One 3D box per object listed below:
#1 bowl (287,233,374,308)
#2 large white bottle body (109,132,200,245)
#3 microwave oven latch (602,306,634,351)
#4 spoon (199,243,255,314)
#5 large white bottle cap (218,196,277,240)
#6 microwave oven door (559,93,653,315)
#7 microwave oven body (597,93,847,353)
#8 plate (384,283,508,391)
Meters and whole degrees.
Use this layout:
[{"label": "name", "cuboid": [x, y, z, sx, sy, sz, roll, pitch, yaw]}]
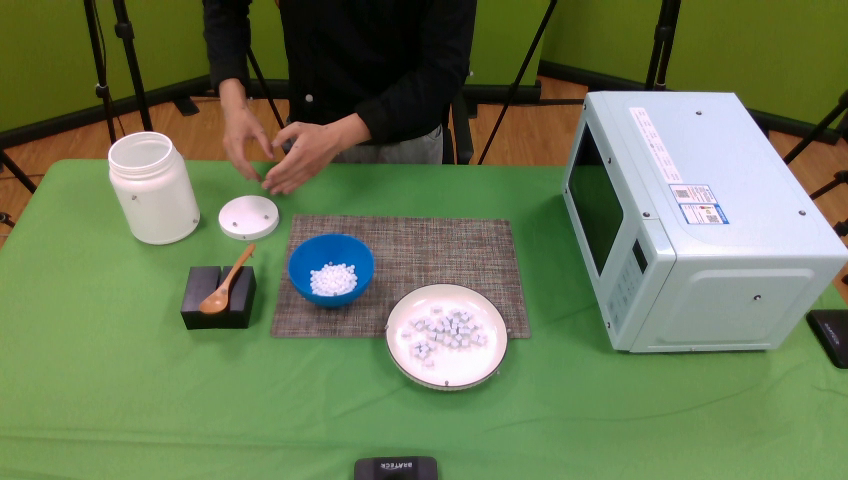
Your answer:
[{"label": "bowl", "cuboid": [-0.165, 0.068, 1.078, 0.151, 0.077, 0.150, 3, 45, -3]}, {"label": "large white bottle body", "cuboid": [-0.506, -0.097, 1.141, 0.131, 0.185, 0.130, 2, 46, -2]}, {"label": "microwave oven latch", "cuboid": [0.332, 0.153, 1.044, 0.030, 0.029, 0.078, 0, 45, -4]}, {"label": "spoon", "cuboid": [-0.333, 0.062, 1.051, 0.041, 0.022, 0.193, 6, 40, 9]}, {"label": "large white bottle cap", "cuboid": [-0.354, -0.045, 1.220, 0.115, 0.018, 0.114, 1, 46, -1]}, {"label": "microwave oven door", "cuboid": [0.327, -0.074, 1.123, 0.039, 0.245, 0.353, -1, 46, -5]}, {"label": "microwave oven body", "cuboid": [0.475, -0.041, 1.109, 0.326, 0.261, 0.438, -1, 45, -4]}, {"label": "plate", "cuboid": [0.036, 0.166, 1.029, 0.209, 0.038, 0.208, 2, 49, -2]}]
